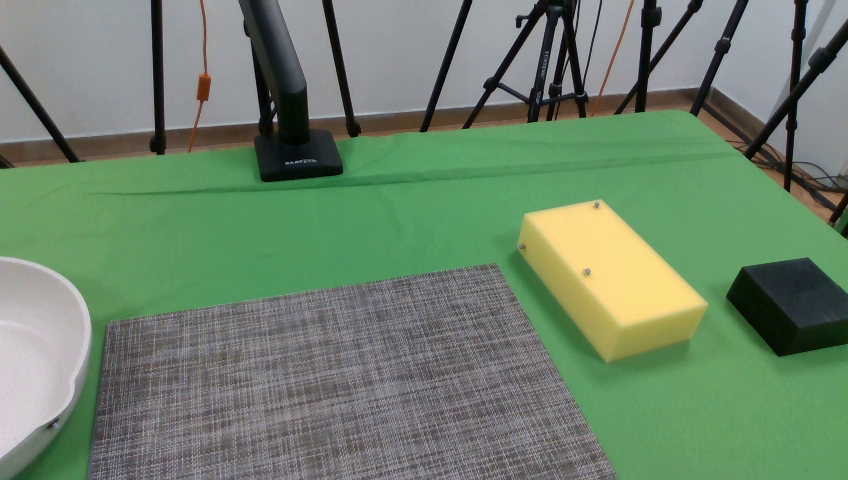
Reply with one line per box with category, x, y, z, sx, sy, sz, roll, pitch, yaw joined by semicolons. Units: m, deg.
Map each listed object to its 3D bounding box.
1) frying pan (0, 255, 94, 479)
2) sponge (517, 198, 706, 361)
frying pan;-0.466;0.182;0.446;0.306;0.103;0.485;11;32;7
sponge;0.216;0.039;0.732;0.118;0.061;0.204;-11;43;-20
